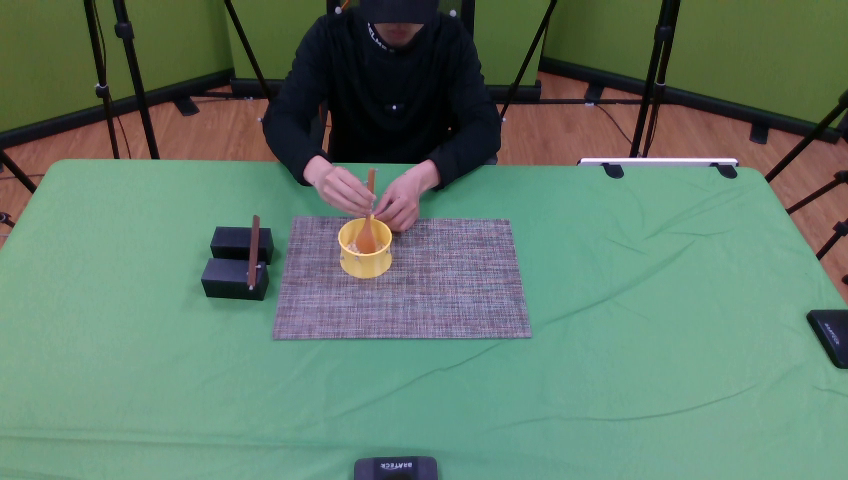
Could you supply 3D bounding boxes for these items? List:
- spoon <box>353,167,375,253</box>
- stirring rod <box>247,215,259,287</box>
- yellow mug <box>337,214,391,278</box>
[{"bbox_3d":[-0.105,-0.050,1.106,0.041,0.194,0.021,14,34,8],"label":"spoon"},{"bbox_3d":[-0.309,0.016,1.097,0.014,0.006,0.175,24,36,-31],"label":"stirring rod"},{"bbox_3d":[-0.110,0.003,1.152,0.100,0.064,0.130,7,45,2],"label":"yellow mug"}]
